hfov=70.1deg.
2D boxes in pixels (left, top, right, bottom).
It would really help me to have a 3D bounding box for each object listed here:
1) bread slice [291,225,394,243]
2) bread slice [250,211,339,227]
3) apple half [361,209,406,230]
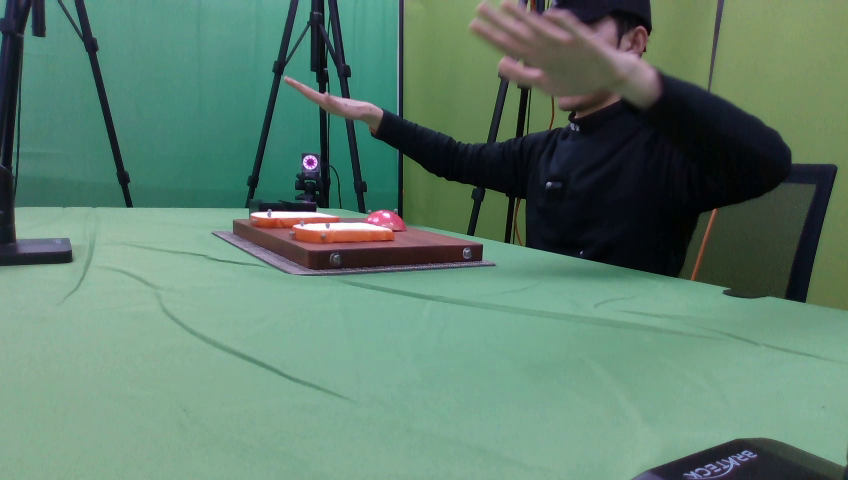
[{"bbox_3d":[-0.122,-0.011,0.869,0.132,0.019,0.104,-1,6,-32],"label":"bread slice"},{"bbox_3d":[-0.223,-0.035,1.021,0.135,0.018,0.106,-3,9,-33],"label":"bread slice"},{"bbox_3d":[-0.065,-0.035,1.011,0.081,0.033,0.081,2,4,0],"label":"apple half"}]
